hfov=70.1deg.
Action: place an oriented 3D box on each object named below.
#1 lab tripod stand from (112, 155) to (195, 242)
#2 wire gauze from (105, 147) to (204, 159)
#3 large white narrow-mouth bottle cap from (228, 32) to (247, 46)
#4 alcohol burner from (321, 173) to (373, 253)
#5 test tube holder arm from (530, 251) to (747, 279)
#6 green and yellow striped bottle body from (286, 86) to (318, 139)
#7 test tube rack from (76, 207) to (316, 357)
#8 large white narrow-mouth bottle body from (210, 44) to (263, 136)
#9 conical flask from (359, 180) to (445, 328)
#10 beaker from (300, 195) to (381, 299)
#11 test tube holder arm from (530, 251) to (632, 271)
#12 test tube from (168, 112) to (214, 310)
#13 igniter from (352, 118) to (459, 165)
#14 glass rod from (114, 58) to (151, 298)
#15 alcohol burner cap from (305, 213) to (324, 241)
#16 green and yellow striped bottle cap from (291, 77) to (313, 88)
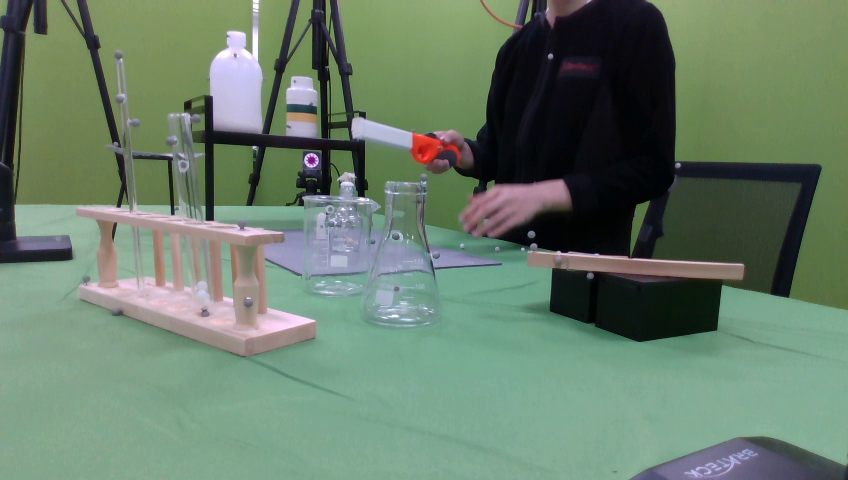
[{"bbox_3d":[-0.405,-0.064,0.931,0.148,0.131,0.148,1,6,0],"label":"lab tripod stand"},{"bbox_3d":[-0.407,-0.131,0.928,0.125,0.011,0.121,2,6,-11],"label":"wire gauze"},{"bbox_3d":[-0.364,-0.390,1.180,0.038,0.024,0.037,3,8,0],"label":"large white narrow-mouth bottle cap"},{"bbox_3d":[-0.115,-0.041,0.905,0.078,0.119,0.078,1,6,0],"label":"alcohol burner"},{"bbox_3d":[0.182,0.022,0.523,0.178,0.015,0.013,3,7,12],"label":"test tube holder arm"},{"bbox_3d":[-0.251,-0.270,1.245,0.063,0.119,0.063,2,7,0],"label":"green and yellow striped bottle body"},{"bbox_3d":[-0.196,0.023,0.500,0.241,0.085,0.067,8,9,36],"label":"test tube rack"},{"bbox_3d":[-0.369,-0.305,1.194,0.102,0.194,0.102,3,8,0],"label":"large white narrow-mouth bottle body"},{"bbox_3d":[-0.017,0.010,0.522,0.075,0.122,0.075,2,7,0],"label":"conical flask"},{"bbox_3d":[-0.087,0.006,0.626,0.084,0.100,0.074,1,8,-17],"label":"beaker"},{"bbox_3d":[0.139,0.019,0.538,0.087,0.015,0.010,3,7,13],"label":"test tube holder arm"},{"bbox_3d":[-0.175,-0.020,0.455,0.017,0.150,0.017,-4,9,1],"label":"test tube"},{"bbox_3d":[-0.020,-0.162,1.014,0.025,0.057,0.278,0,-2,36],"label":"igniter"},{"bbox_3d":[-0.236,-0.044,0.492,0.008,0.199,0.008,0,15,0],"label":"glass rod"},{"bbox_3d":[-0.185,-0.023,1.027,0.034,0.048,0.034,3,6,0],"label":"alcohol burner cap"},{"bbox_3d":[-0.250,-0.321,1.237,0.045,0.020,0.045,3,6,0],"label":"green and yellow striped bottle cap"}]
